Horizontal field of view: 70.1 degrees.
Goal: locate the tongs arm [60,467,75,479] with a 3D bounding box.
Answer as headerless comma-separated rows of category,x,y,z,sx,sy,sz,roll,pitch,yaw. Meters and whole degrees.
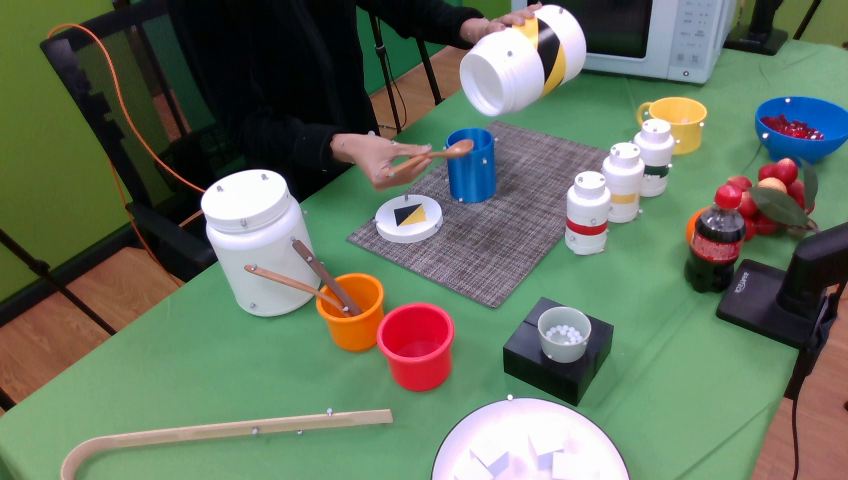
tongs arm,-0.239,0.301,0.648,0.386,0.028,0.028,6,49,16

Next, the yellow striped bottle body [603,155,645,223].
yellow striped bottle body,0.314,-0.091,0.958,0.063,0.121,0.062,-4,40,4

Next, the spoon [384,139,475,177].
spoon,0.009,-0.120,0.873,0.041,0.021,0.195,15,26,38

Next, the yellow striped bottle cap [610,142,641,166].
yellow striped bottle cap,0.308,-0.131,0.925,0.044,0.019,0.044,-4,45,5

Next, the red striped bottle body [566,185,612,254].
red striped bottle body,0.248,-0.041,0.910,0.063,0.120,0.062,-4,41,4

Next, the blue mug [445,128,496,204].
blue mug,0.083,-0.139,1.057,0.082,0.106,0.116,-2,40,6

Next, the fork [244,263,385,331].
fork,-0.142,0.077,0.807,0.209,0.018,0.028,30,41,-24

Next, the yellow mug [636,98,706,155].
yellow mug,0.453,-0.217,1.128,0.100,0.064,0.129,-34,46,-27

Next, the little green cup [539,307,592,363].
little green cup,0.168,0.115,0.721,0.061,0.039,0.061,-4,42,4

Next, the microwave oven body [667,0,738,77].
microwave oven body,0.462,-0.552,1.369,0.439,0.261,0.326,15,45,26

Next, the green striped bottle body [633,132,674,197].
green striped bottle body,0.376,-0.135,1.001,0.063,0.120,0.063,-5,41,5

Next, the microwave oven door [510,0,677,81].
microwave oven door,0.354,-0.478,1.291,0.353,0.245,0.039,15,45,25

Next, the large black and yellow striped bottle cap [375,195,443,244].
large black and yellow striped bottle cap,-0.026,-0.036,1.022,0.115,0.019,0.114,-3,41,3

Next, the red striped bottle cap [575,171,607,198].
red striped bottle cap,0.242,-0.081,0.876,0.044,0.018,0.044,-5,44,5

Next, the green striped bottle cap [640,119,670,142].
green striped bottle cap,0.370,-0.174,0.968,0.044,0.020,0.044,-3,41,3

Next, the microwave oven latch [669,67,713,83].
microwave oven latch,0.556,-0.349,1.261,0.078,0.029,0.030,16,46,27

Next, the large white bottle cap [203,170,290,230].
large white bottle cap,-0.241,-0.056,0.822,0.115,0.018,0.114,-4,40,4

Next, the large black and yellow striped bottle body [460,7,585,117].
large black and yellow striped bottle body,0.162,-0.293,1.007,0.184,0.131,0.129,-34,46,-23

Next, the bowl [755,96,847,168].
bowl,0.645,-0.177,1.041,0.151,0.077,0.150,-5,40,4

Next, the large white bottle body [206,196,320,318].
large white bottle body,-0.233,0.008,0.876,0.130,0.185,0.130,-4,40,4

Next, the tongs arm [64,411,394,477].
tongs arm,-0.228,0.241,0.715,0.385,0.026,0.050,-5,43,4

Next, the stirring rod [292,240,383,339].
stirring rod,-0.118,0.068,0.825,0.176,0.006,0.014,49,60,-3

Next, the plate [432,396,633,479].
plate,0.112,0.261,0.634,0.209,0.038,0.208,-5,40,4
